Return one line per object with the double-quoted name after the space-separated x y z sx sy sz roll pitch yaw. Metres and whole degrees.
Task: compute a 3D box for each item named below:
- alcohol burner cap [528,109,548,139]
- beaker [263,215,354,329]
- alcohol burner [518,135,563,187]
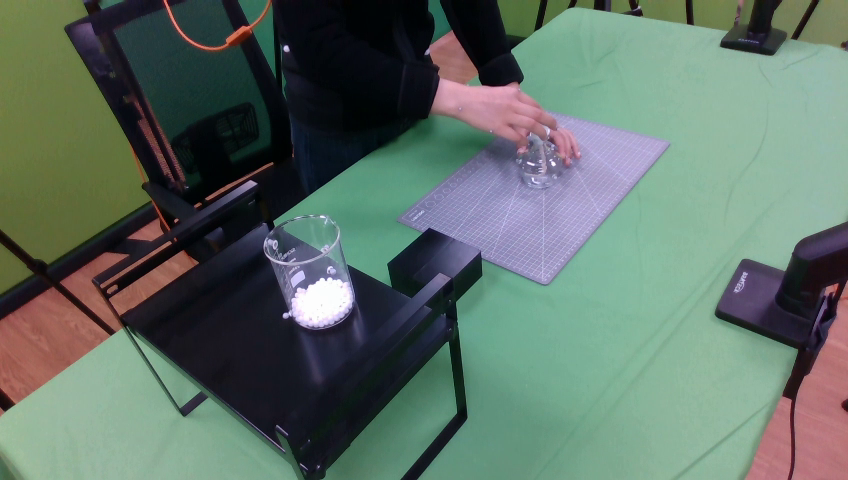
0.188 -0.195 1.002 0.034 0.048 0.033 -7 43 7 "alcohol burner cap"
-0.112 0.034 0.616 0.073 0.101 0.084 13 44 22 "beaker"
0.201 -0.151 1.046 0.078 0.119 0.077 -6 42 6 "alcohol burner"
